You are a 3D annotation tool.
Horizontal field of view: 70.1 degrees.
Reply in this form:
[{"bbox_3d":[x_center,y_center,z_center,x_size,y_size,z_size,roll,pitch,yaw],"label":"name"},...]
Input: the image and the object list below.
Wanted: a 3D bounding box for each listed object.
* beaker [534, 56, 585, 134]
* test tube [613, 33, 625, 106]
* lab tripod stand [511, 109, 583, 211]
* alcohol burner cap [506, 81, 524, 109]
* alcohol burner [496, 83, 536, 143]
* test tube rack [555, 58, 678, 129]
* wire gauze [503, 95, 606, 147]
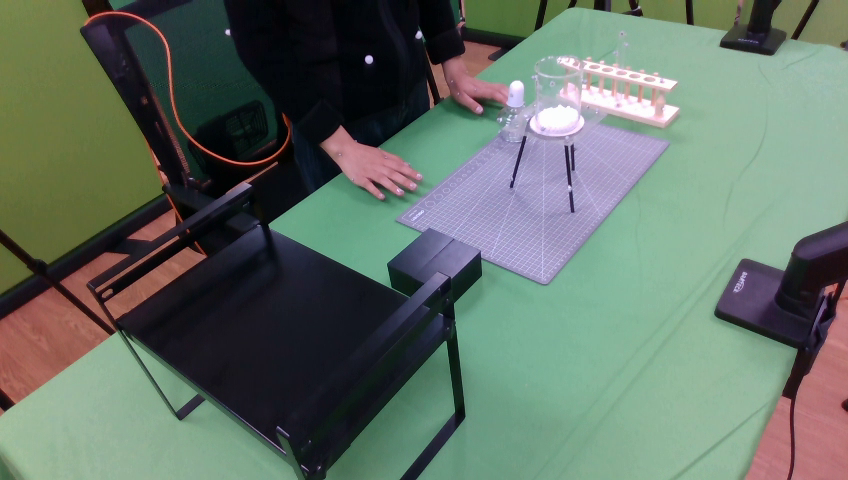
[{"bbox_3d":[0.209,-0.226,0.942,0.074,0.101,0.083,-2,41,7],"label":"beaker"},{"bbox_3d":[0.380,-0.330,1.180,0.017,0.151,0.017,-7,41,6],"label":"test tube"},{"bbox_3d":[0.220,-0.138,1.014,0.148,0.132,0.147,-3,41,3],"label":"lab tripod stand"},{"bbox_3d":[0.173,-0.277,1.144,0.034,0.048,0.033,0,39,0],"label":"alcohol burner cap"},{"bbox_3d":[0.178,-0.250,1.168,0.078,0.119,0.077,-5,42,5],"label":"alcohol burner"},{"bbox_3d":[0.390,-0.307,1.229,0.240,0.085,0.067,25,51,33],"label":"test tube rack"},{"bbox_3d":[0.212,-0.191,0.976,0.120,0.011,0.125,24,52,32],"label":"wire gauze"}]
